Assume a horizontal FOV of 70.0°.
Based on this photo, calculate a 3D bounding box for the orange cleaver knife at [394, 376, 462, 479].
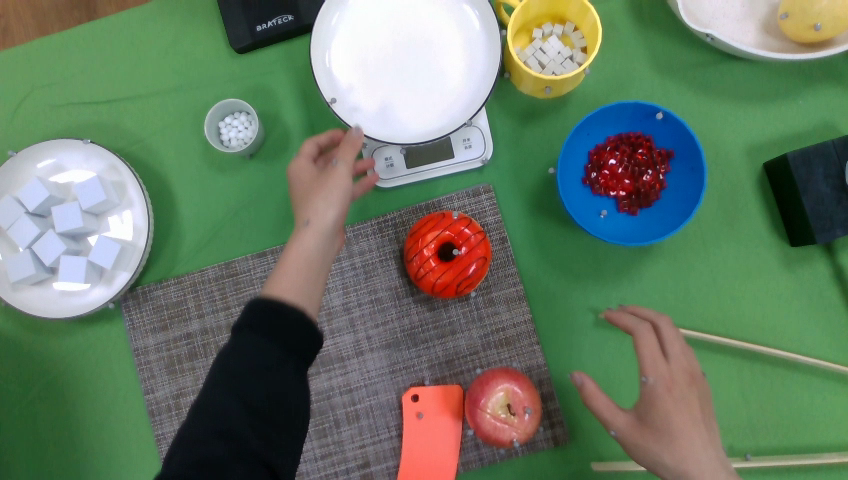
[{"bbox_3d":[-0.005,0.250,0.668,0.077,0.012,0.211,12,85,-3],"label":"orange cleaver knife"}]

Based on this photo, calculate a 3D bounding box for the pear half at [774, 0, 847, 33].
[{"bbox_3d":[0.415,-0.253,0.633,0.076,0.110,0.056,20,88,8],"label":"pear half"}]

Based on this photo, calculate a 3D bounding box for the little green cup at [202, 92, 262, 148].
[{"bbox_3d":[-0.217,-0.135,0.695,0.061,0.039,0.061,0,86,3],"label":"little green cup"}]

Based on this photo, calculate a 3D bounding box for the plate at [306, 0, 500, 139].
[{"bbox_3d":[-0.023,-0.211,0.661,0.209,0.038,0.208,0,87,2],"label":"plate"}]

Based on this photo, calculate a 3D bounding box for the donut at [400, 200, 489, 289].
[{"bbox_3d":[0.022,0.005,0.669,0.099,0.048,0.099,0,88,4],"label":"donut"}]

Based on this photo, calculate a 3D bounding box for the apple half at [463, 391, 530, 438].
[{"bbox_3d":[0.071,0.189,0.640,0.081,0.081,0.032,26,83,4],"label":"apple half"}]

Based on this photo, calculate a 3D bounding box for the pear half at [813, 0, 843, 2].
[{"bbox_3d":[0.430,-0.286,0.644,0.070,0.088,0.031,18,89,7],"label":"pear half"}]

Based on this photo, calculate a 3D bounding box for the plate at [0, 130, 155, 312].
[{"bbox_3d":[-0.407,-0.021,0.697,0.207,0.039,0.207,0,86,3],"label":"plate"}]

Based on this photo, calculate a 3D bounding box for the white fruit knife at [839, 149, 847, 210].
[{"bbox_3d":[0.461,0.004,0.636,0.016,0.027,0.208,-19,100,2],"label":"white fruit knife"}]

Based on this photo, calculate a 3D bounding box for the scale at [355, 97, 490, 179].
[{"bbox_3d":[-0.014,-0.180,0.691,0.148,0.031,0.200,-12,86,2],"label":"scale"}]

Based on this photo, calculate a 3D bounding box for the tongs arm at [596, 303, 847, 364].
[{"bbox_3d":[0.379,0.121,0.658,0.387,0.028,0.028,14,80,2],"label":"tongs arm"}]

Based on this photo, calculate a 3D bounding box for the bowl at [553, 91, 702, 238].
[{"bbox_3d":[0.209,-0.075,0.652,0.151,0.077,0.151,0,87,3],"label":"bowl"}]

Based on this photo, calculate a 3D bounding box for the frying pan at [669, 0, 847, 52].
[{"bbox_3d":[0.452,-0.266,0.639,0.307,0.103,0.485,-44,78,1],"label":"frying pan"}]

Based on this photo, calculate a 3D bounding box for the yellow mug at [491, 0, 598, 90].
[{"bbox_3d":[0.124,-0.235,0.671,0.130,0.064,0.100,41,90,5],"label":"yellow mug"}]

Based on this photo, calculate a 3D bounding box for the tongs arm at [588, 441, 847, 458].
[{"bbox_3d":[0.371,0.206,0.651,0.385,0.026,0.050,0,83,1],"label":"tongs arm"}]

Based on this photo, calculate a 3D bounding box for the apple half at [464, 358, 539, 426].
[{"bbox_3d":[0.087,0.154,0.643,0.080,0.075,0.053,25,84,8],"label":"apple half"}]
